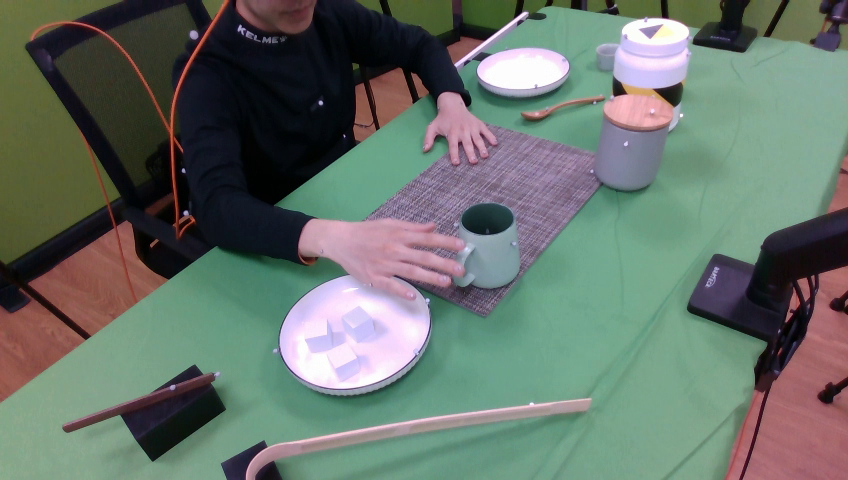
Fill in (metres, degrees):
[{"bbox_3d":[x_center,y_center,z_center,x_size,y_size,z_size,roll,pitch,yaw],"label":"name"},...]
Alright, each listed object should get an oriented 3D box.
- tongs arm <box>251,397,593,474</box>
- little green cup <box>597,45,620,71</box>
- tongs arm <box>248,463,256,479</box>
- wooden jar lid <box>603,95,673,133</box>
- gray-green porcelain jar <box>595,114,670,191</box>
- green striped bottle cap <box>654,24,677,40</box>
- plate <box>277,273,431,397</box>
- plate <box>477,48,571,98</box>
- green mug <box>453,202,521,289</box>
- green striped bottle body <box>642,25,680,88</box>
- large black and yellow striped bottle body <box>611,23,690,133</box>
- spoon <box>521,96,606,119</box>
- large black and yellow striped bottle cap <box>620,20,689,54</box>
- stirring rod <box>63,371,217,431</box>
[{"bbox_3d":[0.008,0.212,0.675,0.389,0.028,0.028,-5,46,-11],"label":"tongs arm"},{"bbox_3d":[0.423,-0.413,1.376,0.061,0.039,0.061,-4,41,4],"label":"little green cup"},{"bbox_3d":[0.012,0.262,0.615,0.385,0.026,0.050,2,42,-2],"label":"tongs arm"},{"bbox_3d":[0.343,-0.200,0.974,0.108,0.021,0.108,-2,39,2],"label":"wooden jar lid"},{"bbox_3d":[0.346,-0.155,1.017,0.106,0.127,0.105,-2,44,2],"label":"gray-green porcelain jar"},{"bbox_3d":[0.495,-0.426,1.237,0.044,0.020,0.044,-5,42,5],"label":"green striped bottle cap"},{"bbox_3d":[-0.092,0.129,0.821,0.207,0.039,0.206,-4,40,4],"label":"plate"},{"bbox_3d":[0.223,-0.371,1.357,0.209,0.038,0.208,-4,41,4],"label":"plate"},{"bbox_3d":[0.084,0.018,0.867,0.092,0.105,0.125,23,49,30],"label":"green mug"},{"bbox_3d":[0.499,-0.387,1.271,0.063,0.120,0.063,-4,41,4],"label":"green striped bottle body"},{"bbox_3d":[0.420,-0.299,1.132,0.131,0.185,0.130,-5,40,4],"label":"large black and yellow striped bottle body"},{"bbox_3d":[0.291,-0.277,1.249,0.194,0.022,0.041,-18,22,-11],"label":"spoon"},{"bbox_3d":[0.411,-0.363,1.080,0.115,0.019,0.114,-3,42,4],"label":"large black and yellow striped bottle cap"},{"bbox_3d":[-0.337,0.192,0.723,0.177,0.014,0.005,-18,43,-12],"label":"stirring rod"}]
